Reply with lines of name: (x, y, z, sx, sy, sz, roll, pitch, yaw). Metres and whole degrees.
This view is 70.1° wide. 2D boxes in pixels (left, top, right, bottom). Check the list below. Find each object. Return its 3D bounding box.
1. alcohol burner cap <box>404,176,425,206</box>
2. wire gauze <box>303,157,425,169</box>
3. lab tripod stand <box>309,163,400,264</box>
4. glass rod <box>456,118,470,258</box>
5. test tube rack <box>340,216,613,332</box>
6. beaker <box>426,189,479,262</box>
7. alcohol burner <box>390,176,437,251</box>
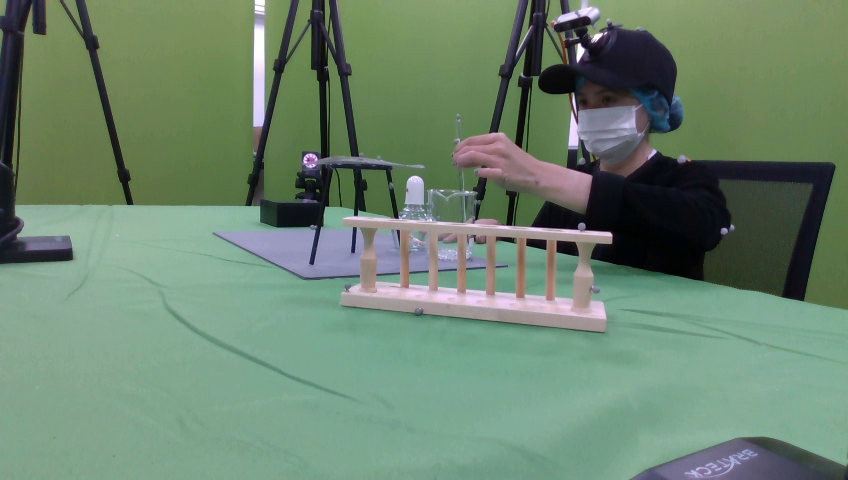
alcohol burner cap: (-0.015, -0.077, 0.951, 0.034, 0.048, 0.034, 2, 4, 0)
wire gauze: (-0.082, -0.102, 0.799, 0.126, 0.011, 0.121, -1, 7, -30)
lab tripod stand: (-0.091, -0.037, 0.813, 0.148, 0.131, 0.148, 1, 6, 0)
glass rod: (0.055, -0.071, 0.852, 0.008, 0.199, 0.008, -5, 12, 1)
test tube rack: (0.048, 0.026, 0.568, 0.242, 0.085, 0.067, 4, 7, 13)
beaker: (0.039, -0.022, 0.871, 0.074, 0.100, 0.084, 4, 8, 12)
alcohol burner: (-0.016, -0.042, 0.955, 0.078, 0.119, 0.078, 4, 6, 0)
